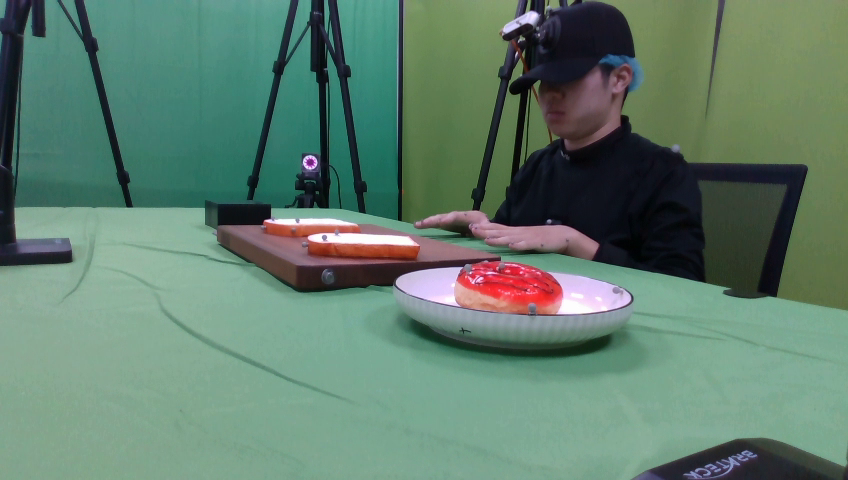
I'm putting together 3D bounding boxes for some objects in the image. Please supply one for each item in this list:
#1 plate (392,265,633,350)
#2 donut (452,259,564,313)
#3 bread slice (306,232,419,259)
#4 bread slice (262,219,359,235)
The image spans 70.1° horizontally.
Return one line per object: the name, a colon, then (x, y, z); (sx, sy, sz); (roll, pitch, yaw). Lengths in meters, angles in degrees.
plate: (0.074, 0.056, 0.533); (0.209, 0.038, 0.209); (3, 7, 0)
donut: (0.074, 0.045, 0.536); (0.099, 0.048, 0.099); (4, 8, 0)
bread slice: (-0.077, 0.006, 0.747); (0.135, 0.018, 0.106); (2, 7, -12)
bread slice: (-0.179, -0.021, 0.931); (0.132, 0.019, 0.104); (-1, 6, -35)
